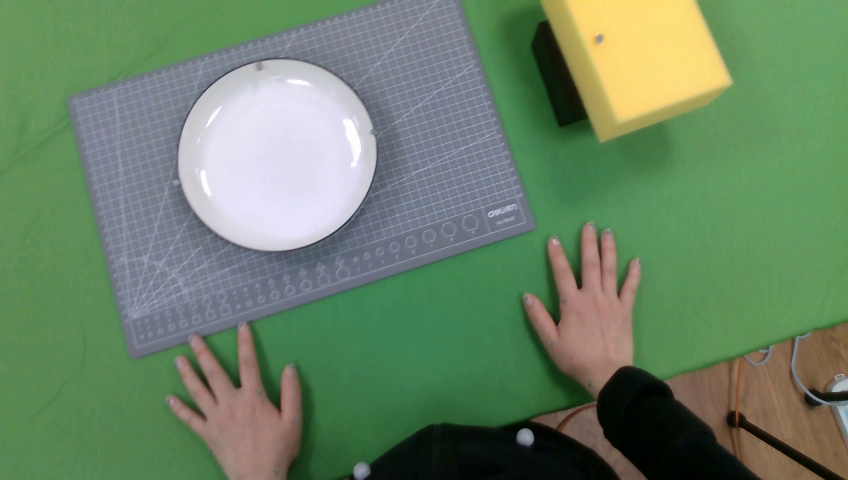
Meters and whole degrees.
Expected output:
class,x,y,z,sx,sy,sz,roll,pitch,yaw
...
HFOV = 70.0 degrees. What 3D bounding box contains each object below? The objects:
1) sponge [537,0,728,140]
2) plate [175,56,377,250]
class,x,y,z,sx,sy,sz,roll,pitch,yaw
sponge,0.195,-0.219,0.603,0.118,0.061,0.206,-21,83,-3
plate,-0.153,-0.090,0.645,0.209,0.038,0.208,0,83,0
